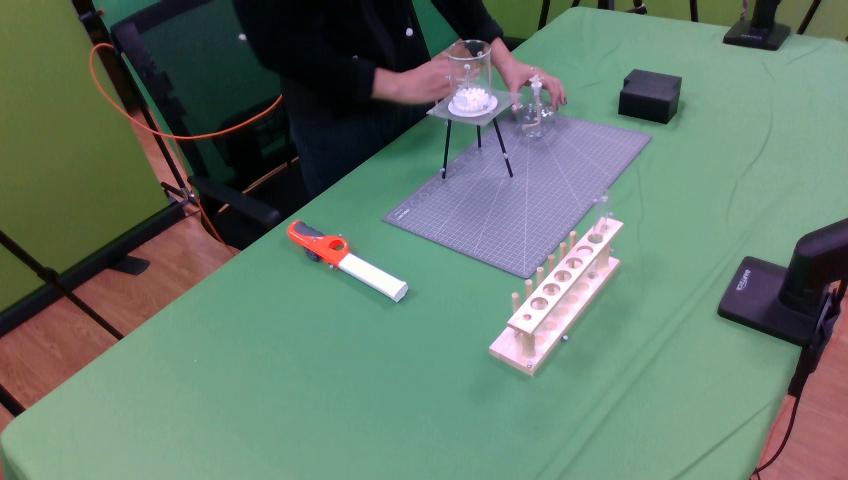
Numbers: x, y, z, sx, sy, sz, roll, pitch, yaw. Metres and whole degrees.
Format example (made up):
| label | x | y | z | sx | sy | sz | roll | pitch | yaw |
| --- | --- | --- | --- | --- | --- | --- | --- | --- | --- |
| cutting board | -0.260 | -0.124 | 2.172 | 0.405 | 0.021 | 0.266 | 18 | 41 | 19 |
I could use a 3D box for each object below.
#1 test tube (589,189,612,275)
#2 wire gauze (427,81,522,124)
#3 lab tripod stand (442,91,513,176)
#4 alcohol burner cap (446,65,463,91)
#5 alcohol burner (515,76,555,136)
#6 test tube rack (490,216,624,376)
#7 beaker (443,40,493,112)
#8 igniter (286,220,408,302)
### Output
| label | x | y | z | sx | sy | sz | roll | pitch | yaw |
| --- | --- | --- | --- | --- | --- | --- | --- | --- | --- |
| test tube | 0.238 | -0.007 | 0.818 | 0.017 | 0.151 | 0.017 | -3 | 43 | 4 |
| wire gauze | 0.088 | -0.237 | 1.051 | 0.120 | 0.011 | 0.125 | 23 | 47 | 29 |
| lab tripod stand | 0.096 | -0.190 | 1.096 | 0.148 | 0.132 | 0.147 | -4 | 40 | 4 |
| alcohol burner cap | 0.058 | -0.322 | 1.194 | 0.034 | 0.048 | 0.033 | -9 | 43 | 9 |
| alcohol burner | 0.217 | -0.264 | 1.176 | 0.078 | 0.119 | 0.077 | -4 | 41 | 4 |
| test tube rack | 0.184 | 0.064 | 0.822 | 0.066 | 0.085 | 0.243 | 24 | 50 | 33 |
| beaker | 0.075 | -0.276 | 1.023 | 0.083 | 0.101 | 0.074 | 5 | 42 | 15 |
| igniter | -0.134 | 0.028 | 0.969 | 0.274 | 0.025 | 0.057 | 26 | 61 | 35 |
